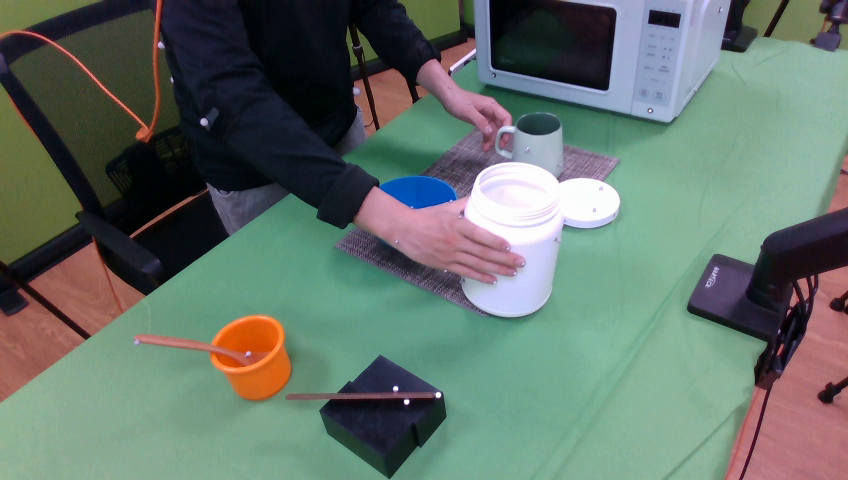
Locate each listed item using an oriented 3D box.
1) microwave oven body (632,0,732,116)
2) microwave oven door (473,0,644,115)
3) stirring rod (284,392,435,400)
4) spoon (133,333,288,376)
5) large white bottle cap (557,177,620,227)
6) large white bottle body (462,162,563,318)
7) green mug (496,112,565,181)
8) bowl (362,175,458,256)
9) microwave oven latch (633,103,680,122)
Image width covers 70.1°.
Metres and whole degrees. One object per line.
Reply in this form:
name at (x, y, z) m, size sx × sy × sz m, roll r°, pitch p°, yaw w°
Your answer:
microwave oven body at (0.377, -0.463, 1.267) m, size 0.438 × 0.261 × 0.327 m, roll 21°, pitch 49°, yaw 30°
microwave oven door at (0.257, -0.396, 1.199) m, size 0.353 × 0.245 × 0.039 m, roll 21°, pitch 48°, yaw 29°
stirring rod at (-0.075, 0.180, 0.698) m, size 0.176 × 0.006 × 0.014 m, roll -2°, pitch 6°, yaw 7°
spoon at (-0.257, 0.137, 0.747) m, size 0.021 × 0.195 × 0.041 m, roll -47°, pitch 40°, yaw 23°
large white bottle cap at (0.265, -0.064, 1.000) m, size 0.115 × 0.018 × 0.114 m, roll -1°, pitch 43°, yaw 2°
large white bottle body at (0.117, 0.000, 0.817) m, size 0.130 × 0.185 × 0.130 m, roll -1°, pitch 41°, yaw 1°
green mug at (0.184, -0.161, 1.061) m, size 0.124 × 0.105 × 0.092 m, roll 15°, pitch 46°, yaw 25°
bowl at (-0.018, -0.029, 0.955) m, size 0.151 × 0.077 × 0.150 m, roll -3°, pitch 40°, yaw 3°
microwave oven latch at (0.443, -0.249, 1.157) m, size 0.078 × 0.029 × 0.030 m, roll 21°, pitch 49°, yaw 30°
